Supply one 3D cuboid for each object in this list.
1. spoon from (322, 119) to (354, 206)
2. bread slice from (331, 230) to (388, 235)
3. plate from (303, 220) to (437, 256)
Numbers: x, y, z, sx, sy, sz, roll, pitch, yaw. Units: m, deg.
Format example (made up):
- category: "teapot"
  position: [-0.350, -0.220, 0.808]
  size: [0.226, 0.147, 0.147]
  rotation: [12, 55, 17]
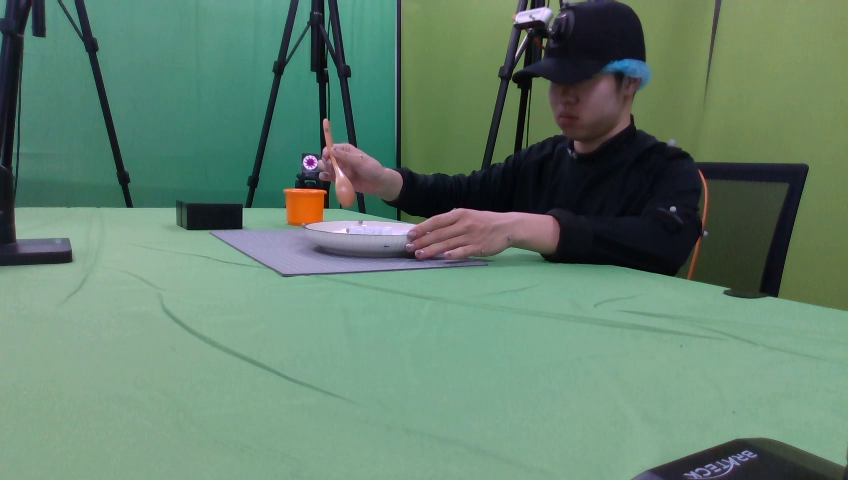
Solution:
- category: "spoon"
  position: [-0.158, -0.140, 1.062]
  size: [0.042, 0.193, 0.021]
  rotation: [13, -45, -44]
- category: "bread slice"
  position: [-0.088, 0.000, 0.946]
  size: [0.105, 0.019, 0.131]
  rotation: [-3, 10, -44]
- category: "plate"
  position: [-0.084, -0.003, 0.951]
  size: [0.209, 0.038, 0.209]
  rotation: [3, 7, 0]
